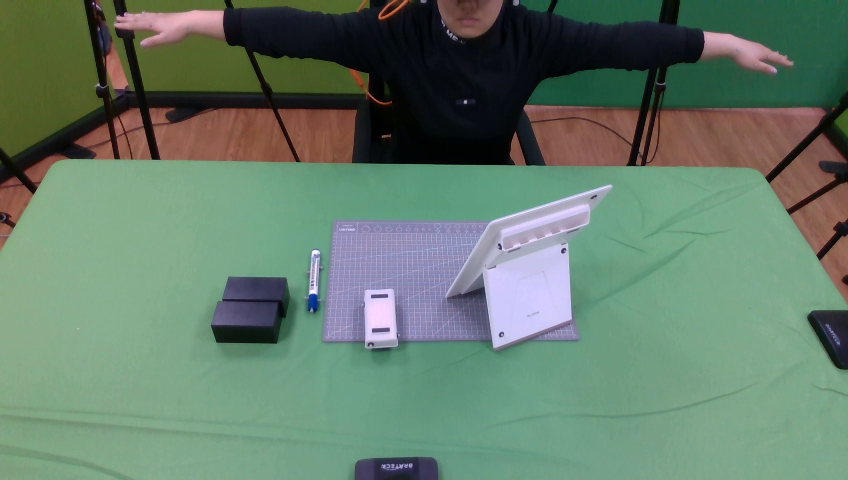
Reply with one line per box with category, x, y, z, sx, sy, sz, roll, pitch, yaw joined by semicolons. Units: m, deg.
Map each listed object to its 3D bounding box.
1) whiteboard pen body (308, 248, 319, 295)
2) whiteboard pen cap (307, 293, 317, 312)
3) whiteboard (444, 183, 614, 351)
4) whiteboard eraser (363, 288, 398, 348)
whiteboard pen body;-0.204;0.069;1.119;0.017;0.017;0.140;-1;47;-5
whiteboard pen cap;-0.199;0.110;1.078;0.018;0.018;0.033;-2;47;-6
whiteboard;0.186;0.065;0.990;0.217;0.306;0.143;-16;69;-19
whiteboard eraser;-0.076;0.136;1.042;0.056;0.042;0.112;-1;46;-7
